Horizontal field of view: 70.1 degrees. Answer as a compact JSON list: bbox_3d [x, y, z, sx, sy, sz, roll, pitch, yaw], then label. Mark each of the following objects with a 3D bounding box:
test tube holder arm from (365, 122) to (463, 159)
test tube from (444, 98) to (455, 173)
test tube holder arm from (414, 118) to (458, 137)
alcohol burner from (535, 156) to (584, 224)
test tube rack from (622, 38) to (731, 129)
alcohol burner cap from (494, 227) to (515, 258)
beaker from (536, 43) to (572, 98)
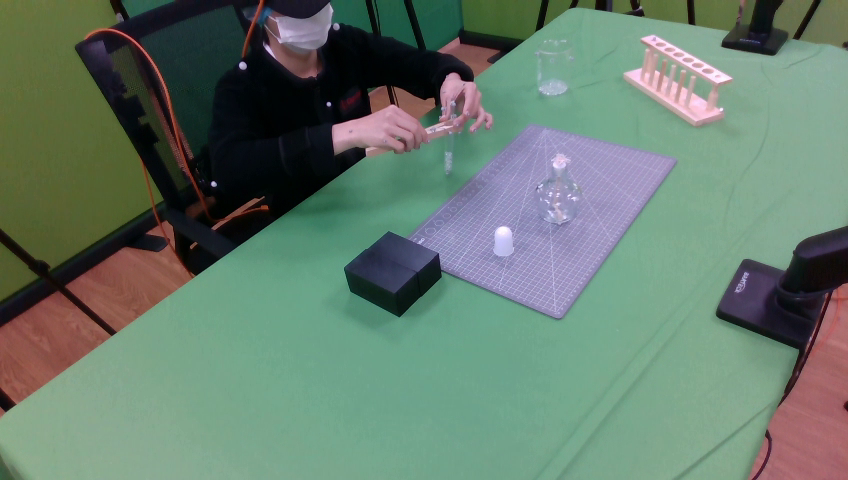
[{"bbox_3d":[-0.015,-0.167,1.011,0.179,0.015,0.013,-21,43,-19],"label":"test tube holder arm"},{"bbox_3d":[0.043,-0.178,1.050,0.017,0.151,0.017,0,43,0],"label":"test tube"},{"bbox_3d":[0.021,-0.186,1.031,0.088,0.015,0.010,-27,46,-25],"label":"test tube holder arm"},{"bbox_3d":[0.217,-0.085,0.967,0.078,0.119,0.077,-3,41,3],"label":"alcohol burner"},{"bbox_3d":[0.506,-0.325,1.234,0.067,0.085,0.240,-18,41,-11],"label":"test tube rack"},{"bbox_3d":[0.124,0.001,0.936,0.034,0.048,0.033,-4,40,4],"label":"alcohol burner cap"},{"bbox_3d":[0.280,-0.368,1.311,0.074,0.101,0.084,4,41,14],"label":"beaker"}]
